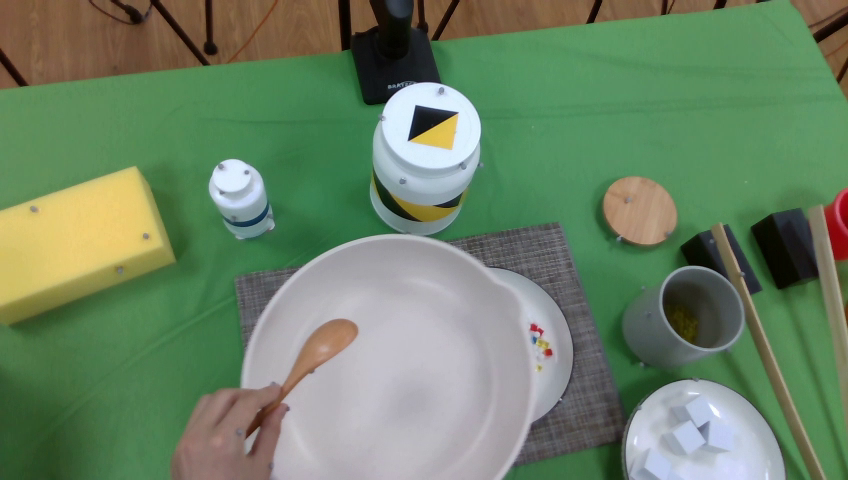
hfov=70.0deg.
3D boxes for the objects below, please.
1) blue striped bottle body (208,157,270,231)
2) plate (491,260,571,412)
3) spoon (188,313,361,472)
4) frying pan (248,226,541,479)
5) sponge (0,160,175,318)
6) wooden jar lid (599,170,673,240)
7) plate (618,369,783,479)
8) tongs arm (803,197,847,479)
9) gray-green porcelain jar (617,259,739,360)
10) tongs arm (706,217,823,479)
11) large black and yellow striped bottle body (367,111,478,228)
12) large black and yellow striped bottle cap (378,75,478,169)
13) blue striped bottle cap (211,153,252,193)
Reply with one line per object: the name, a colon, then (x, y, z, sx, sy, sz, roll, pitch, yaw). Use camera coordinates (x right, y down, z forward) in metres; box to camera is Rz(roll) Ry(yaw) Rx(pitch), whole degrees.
blue striped bottle body: (-0.230, -0.061, 0.755, 0.063, 0.121, 0.062, 3, 69, -7)
plate: (0.081, 0.127, 0.768, 0.209, 0.038, 0.207, 2, 70, -6)
spoon: (-0.131, 0.135, 0.536, 0.193, 0.022, 0.041, -46, 43, -7)
frying pan: (0.021, 0.212, 0.586, 0.307, 0.103, 0.483, -28, 65, -6)
sponge: (-0.431, -0.003, 0.739, 0.207, 0.061, 0.117, -23, 74, -16)
wooden jar lid: (0.305, -0.049, 0.877, 0.108, 0.021, 0.107, 2, 71, -7)
plate: (0.338, 0.267, 0.755, 0.208, 0.039, 0.206, 3, 69, -6)
tongs arm: (0.538, 0.133, 0.802, 0.028, 0.028, 0.386, 0, 80, -15)
gray-green porcelain jar: (0.313, 0.094, 0.768, 0.106, 0.127, 0.105, 3, 69, -6)
tongs arm: (0.456, 0.147, 0.785, 0.051, 0.026, 0.383, -15, 83, -14)
large black and yellow striped bottle body: (-0.005, -0.104, 0.768, 0.131, 0.185, 0.130, 3, 69, -6)
large black and yellow striped bottle cap: (0.006, -0.136, 0.691, 0.115, 0.019, 0.114, 3, 71, -7)
blue striped bottle cap: (-0.225, -0.079, 0.707, 0.044, 0.021, 0.044, 2, 67, -4)
